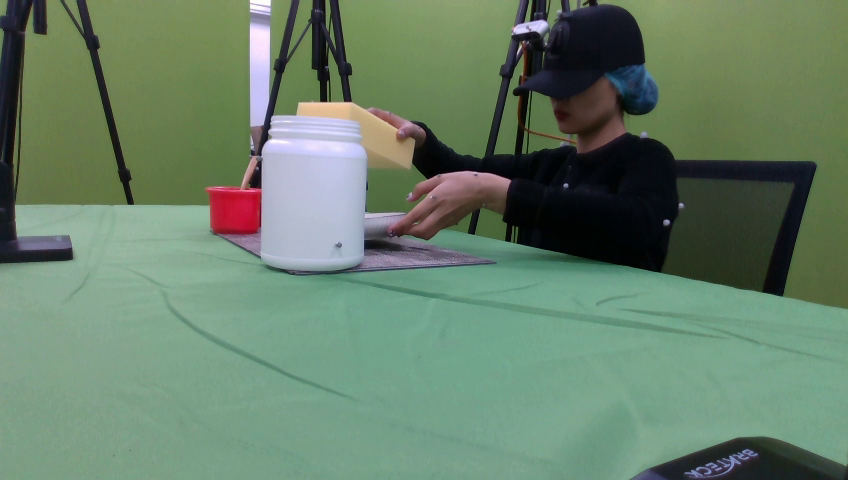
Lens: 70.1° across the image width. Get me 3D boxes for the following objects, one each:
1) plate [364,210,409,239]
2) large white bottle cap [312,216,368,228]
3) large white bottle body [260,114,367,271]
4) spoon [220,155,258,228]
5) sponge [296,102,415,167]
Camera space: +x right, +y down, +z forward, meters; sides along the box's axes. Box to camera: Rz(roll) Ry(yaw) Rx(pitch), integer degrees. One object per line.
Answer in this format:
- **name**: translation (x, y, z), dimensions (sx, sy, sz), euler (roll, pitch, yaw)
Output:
- **plate**: translation (-0.127, -0.022, 0.979), dimensions (0.209, 0.038, 0.209), euler (-4, 5, 1)
- **large white bottle cap**: translation (-0.171, -0.038, 1.234), dimensions (0.115, 0.018, 0.115), euler (1, 5, 0)
- **large white bottle body**: translation (-0.139, -0.062, 0.763), dimensions (0.131, 0.184, 0.130), euler (3, 8, 0)
- **spoon**: translation (-0.325, -0.090, 1.091), dimensions (0.041, 0.021, 0.193), euler (2, 51, 3)
- **sponge**: translation (-0.121, -0.186, 1.089), dimensions (0.118, 0.061, 0.208), euler (7, -4, 30)
